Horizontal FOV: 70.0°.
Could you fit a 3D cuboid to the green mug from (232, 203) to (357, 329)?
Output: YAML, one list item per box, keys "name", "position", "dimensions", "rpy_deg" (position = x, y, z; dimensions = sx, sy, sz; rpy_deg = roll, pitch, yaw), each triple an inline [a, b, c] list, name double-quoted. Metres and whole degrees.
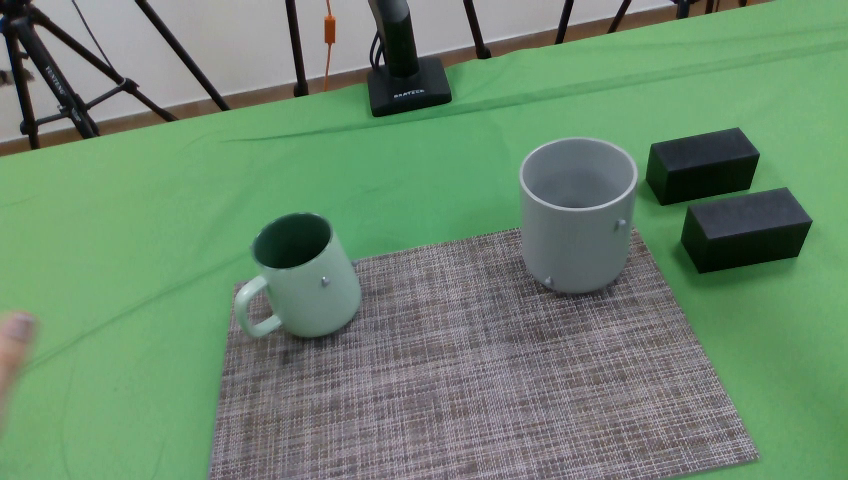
- name: "green mug"
  position: [-0.132, 0.037, 0.598]
  dimensions: [0.091, 0.106, 0.125]
  rpy_deg: [31, 60, 33]

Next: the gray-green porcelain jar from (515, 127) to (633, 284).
- name: "gray-green porcelain jar"
  position: [0.144, -0.028, 0.591]
  dimensions: [0.106, 0.128, 0.105]
  rpy_deg: [-6, 46, 6]
